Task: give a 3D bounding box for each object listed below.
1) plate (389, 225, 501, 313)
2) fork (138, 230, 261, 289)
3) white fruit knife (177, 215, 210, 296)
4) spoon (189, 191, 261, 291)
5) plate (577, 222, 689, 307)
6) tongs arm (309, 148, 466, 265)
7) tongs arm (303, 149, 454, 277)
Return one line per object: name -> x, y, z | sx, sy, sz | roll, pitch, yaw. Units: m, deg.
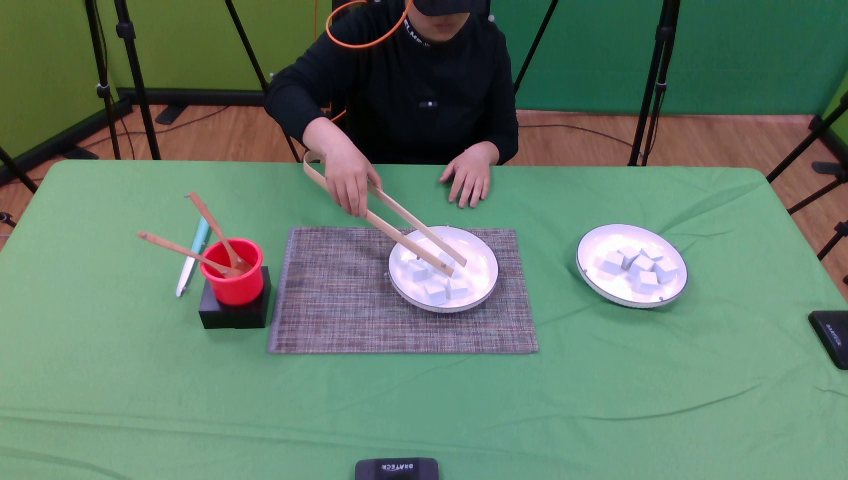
plate -> 0.038, 0.057, 1.129 | 0.208, 0.039, 0.206 | 2, 46, -2
fork -> -0.360, 0.032, 0.981 | 0.208, 0.018, 0.028 | 31, 60, -30
white fruit knife -> -0.435, 0.025, 1.148 | 0.027, 0.016, 0.206 | -18, 45, 19
spoon -> -0.333, 0.001, 1.012 | 0.041, 0.194, 0.021 | -34, 15, -25
plate -> 0.396, 0.050, 1.165 | 0.209, 0.038, 0.208 | 2, 47, -2
tongs arm -> -0.074, -0.069, 1.149 | 0.386, 0.028, 0.028 | 37, 57, 18
tongs arm -> -0.090, -0.056, 1.134 | 0.383, 0.026, 0.050 | 33, 53, 16
